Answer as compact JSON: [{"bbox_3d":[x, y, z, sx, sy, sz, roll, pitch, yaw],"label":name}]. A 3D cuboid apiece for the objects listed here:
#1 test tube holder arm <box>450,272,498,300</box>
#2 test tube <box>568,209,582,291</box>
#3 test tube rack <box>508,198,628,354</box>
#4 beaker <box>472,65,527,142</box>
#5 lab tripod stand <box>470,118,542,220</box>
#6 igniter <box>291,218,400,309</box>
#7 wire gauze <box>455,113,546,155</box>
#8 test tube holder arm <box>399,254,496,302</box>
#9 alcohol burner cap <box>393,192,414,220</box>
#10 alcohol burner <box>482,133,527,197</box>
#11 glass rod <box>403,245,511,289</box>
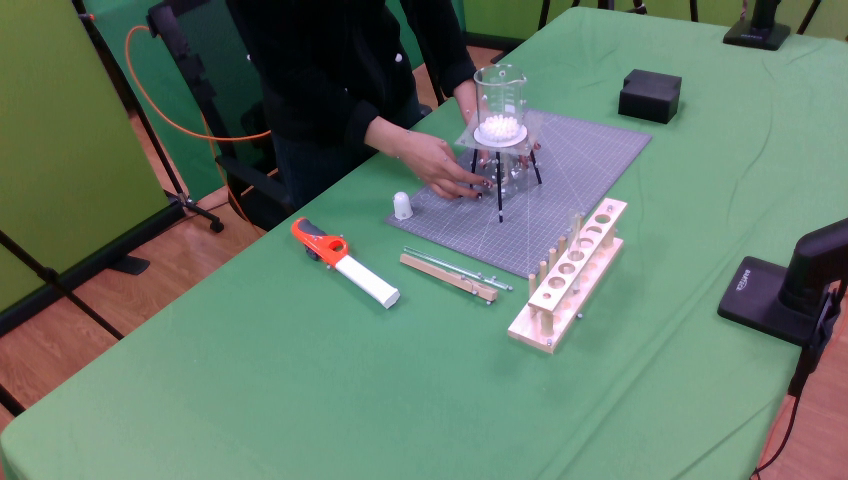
[{"bbox_3d":[0.071,0.068,0.895,0.087,0.015,0.010,22,16,33],"label":"test tube holder arm"},{"bbox_3d":[0.200,0.017,0.799,0.017,0.151,0.017,-8,45,8],"label":"test tube"},{"bbox_3d":[0.206,0.039,0.850,0.066,0.085,0.243,20,48,31],"label":"test tube rack"},{"bbox_3d":[0.120,-0.211,0.942,0.083,0.101,0.074,10,42,22],"label":"beaker"},{"bbox_3d":[0.135,-0.128,1.019,0.148,0.132,0.147,-5,38,5],"label":"lab tripod stand"},{"bbox_3d":[-0.136,0.031,0.970,0.057,0.025,0.274,-41,49,-19],"label":"igniter"},{"bbox_3d":[0.124,-0.175,0.973,0.124,0.011,0.121,8,39,21],"label":"wire gauze"},{"bbox_3d":[0.032,0.054,0.914,0.177,0.015,0.013,21,16,32],"label":"test tube holder arm"},{"bbox_3d":[-0.038,-0.061,1.044,0.034,0.048,0.033,-5,40,5],"label":"alcohol burner cap"},{"bbox_3d":[0.138,-0.133,1.040,0.078,0.119,0.077,-4,41,4],"label":"alcohol burner"},{"bbox_3d":[0.046,0.040,0.938,0.198,0.008,0.008,20,49,30],"label":"glass rod"}]
